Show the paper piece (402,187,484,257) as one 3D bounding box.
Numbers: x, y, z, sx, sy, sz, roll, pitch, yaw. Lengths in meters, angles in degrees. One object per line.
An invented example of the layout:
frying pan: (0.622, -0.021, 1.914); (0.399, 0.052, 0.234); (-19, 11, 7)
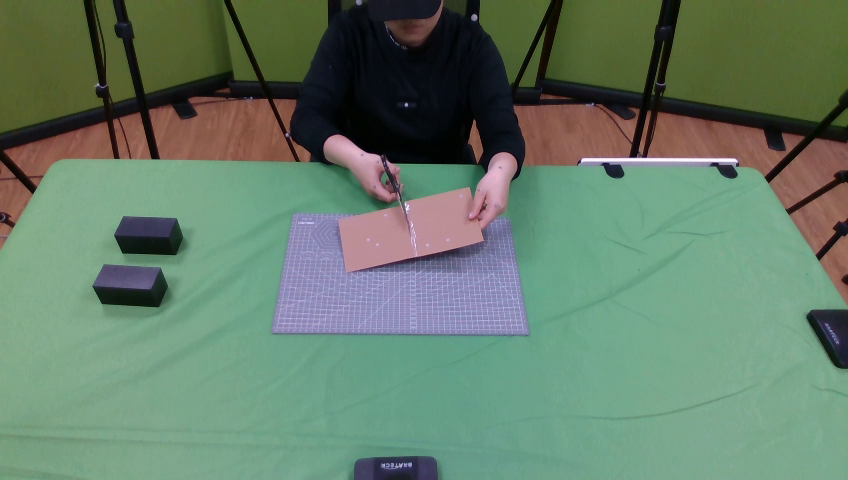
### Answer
paper piece: (0.035, -0.037, 1.172); (0.138, 0.009, 0.135); (-11, 61, 1)

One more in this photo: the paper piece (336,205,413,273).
paper piece: (-0.098, -0.005, 1.175); (0.135, 0.004, 0.135); (-13, 52, -1)

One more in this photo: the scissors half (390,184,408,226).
scissors half: (-0.054, -0.087, 1.232); (0.013, 0.040, 0.174); (-19, 50, -2)

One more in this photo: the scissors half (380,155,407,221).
scissors half: (-0.058, -0.097, 1.214); (0.013, 0.040, 0.174); (-22, 73, 3)
